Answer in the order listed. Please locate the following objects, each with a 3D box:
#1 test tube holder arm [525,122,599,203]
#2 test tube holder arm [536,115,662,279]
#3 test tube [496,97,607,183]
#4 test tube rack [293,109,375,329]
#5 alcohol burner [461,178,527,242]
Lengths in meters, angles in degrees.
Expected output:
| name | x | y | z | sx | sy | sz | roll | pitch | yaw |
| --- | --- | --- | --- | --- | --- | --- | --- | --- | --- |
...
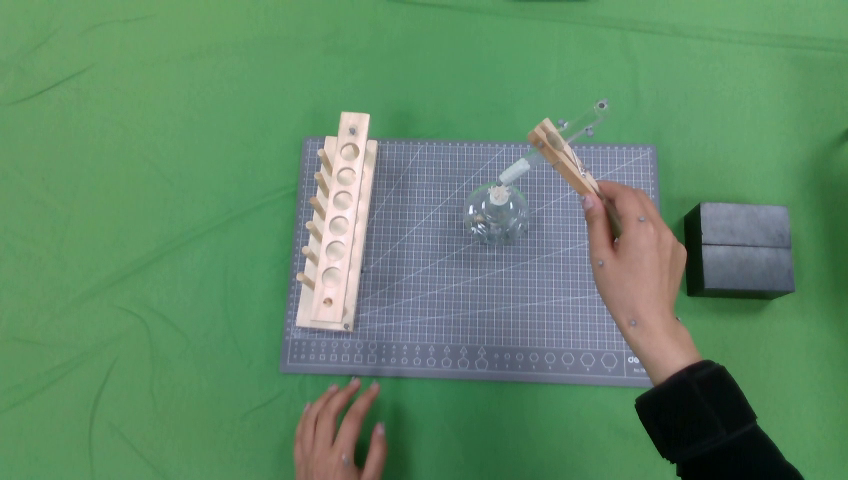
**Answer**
| name | x | y | z | sx | sy | sz | roll | pitch | yaw |
| --- | --- | --- | --- | --- | --- | --- | --- | --- | --- |
| test tube holder arm | 0.123 | -0.067 | 0.536 | 0.088 | 0.015 | 0.010 | 45 | 63 | -7 |
| test tube holder arm | 0.156 | -0.037 | 0.543 | 0.013 | 0.015 | 0.178 | -41 | 94 | -27 |
| test tube | 0.108 | -0.085 | 0.542 | 0.017 | 0.150 | 0.017 | 9 | 69 | -24 |
| test tube rack | -0.109 | -0.024 | 0.706 | 0.067 | 0.085 | 0.241 | 5 | 76 | 3 |
| alcohol burner | 0.081 | -0.039 | 0.691 | 0.078 | 0.119 | 0.077 | 0 | 77 | 2 |
